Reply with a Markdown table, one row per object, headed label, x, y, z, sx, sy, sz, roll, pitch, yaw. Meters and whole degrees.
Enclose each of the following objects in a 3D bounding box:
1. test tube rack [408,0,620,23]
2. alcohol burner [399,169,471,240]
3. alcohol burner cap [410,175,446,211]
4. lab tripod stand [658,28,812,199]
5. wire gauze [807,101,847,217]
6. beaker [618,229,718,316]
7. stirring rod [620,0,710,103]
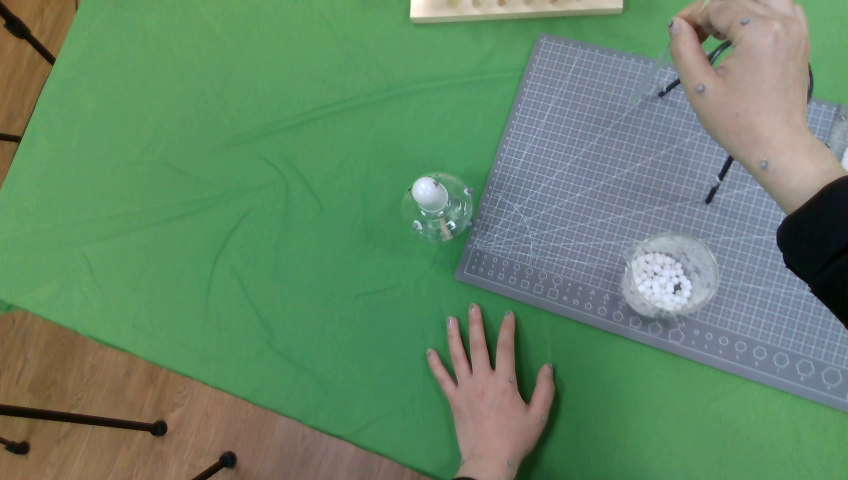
| label | x | y | z | sx | sy | sz | roll | pitch | yaw |
| --- | --- | --- | --- | --- | --- | --- | --- | --- | --- |
| test tube rack | 0.096 | -0.299 | 0.672 | 0.242 | 0.085 | 0.066 | 1 | 80 | 10 |
| alcohol burner | 0.009 | -0.041 | 0.629 | 0.078 | 0.120 | 0.077 | -2 | 78 | 8 |
| alcohol burner cap | 0.002 | -0.048 | 0.594 | 0.034 | 0.048 | 0.034 | -1 | 83 | 11 |
| lab tripod stand | 0.296 | -0.124 | 0.580 | 0.148 | 0.132 | 0.148 | -1 | 81 | 9 |
| wire gauze | 0.462 | -0.068 | 0.605 | 0.124 | 0.011 | 0.121 | 23 | 84 | 10 |
| beaker | 0.225 | 0.034 | 0.583 | 0.083 | 0.101 | 0.074 | 25 | 85 | 14 |
| stirring rod | 0.172 | -0.143 | 0.417 | 0.014 | 0.177 | 0.006 | 17 | 72 | 2 |
